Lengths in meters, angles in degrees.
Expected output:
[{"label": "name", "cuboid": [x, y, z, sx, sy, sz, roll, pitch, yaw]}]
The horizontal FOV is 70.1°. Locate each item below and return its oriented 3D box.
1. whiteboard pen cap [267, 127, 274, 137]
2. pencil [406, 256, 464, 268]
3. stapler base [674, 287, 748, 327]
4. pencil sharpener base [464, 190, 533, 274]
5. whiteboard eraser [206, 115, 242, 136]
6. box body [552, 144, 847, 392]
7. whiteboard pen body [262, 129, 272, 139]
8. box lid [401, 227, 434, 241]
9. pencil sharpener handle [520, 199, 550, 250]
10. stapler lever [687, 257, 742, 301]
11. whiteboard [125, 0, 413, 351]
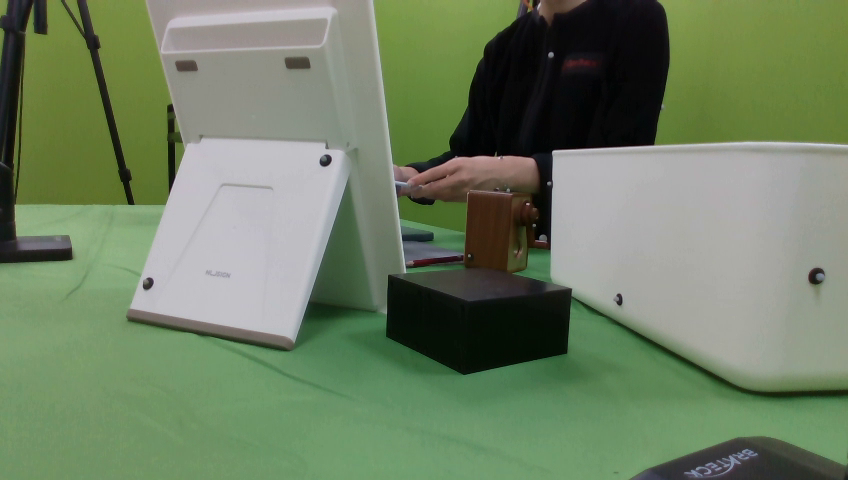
[{"label": "whiteboard pen cap", "cuboid": [-0.340, -0.239, 1.337, 0.018, 0.018, 0.033, 1, -1, -15]}, {"label": "pencil", "cuboid": [0.041, 0.028, 0.850, 0.195, 0.012, 0.012, -5, 10, -45]}, {"label": "stapler base", "cuboid": [0.281, 0.061, 0.586, 0.041, 0.024, 0.131, 11, 9, 37]}, {"label": "pencil sharpener base", "cuboid": [0.103, -0.012, 0.812, 0.076, 0.107, 0.061, 8, 8, 36]}, {"label": "whiteboard eraser", "cuboid": [-0.438, -0.249, 1.320, 0.056, 0.042, 0.112, -3, 9, -30]}, {"label": "box body", "cuboid": [0.290, 0.002, 0.549, 0.255, 0.160, 0.363, 2, 7, -10]}, {"label": "whiteboard pen body", "cuboid": [-0.361, -0.245, 1.393, 0.017, 0.017, 0.140, 0, 5, -20]}, {"label": "box lid", "cuboid": [-0.196, -0.015, 1.105, 0.373, 0.015, 0.262, -1, 7, -32]}, {"label": "pencil sharpener handle", "cuboid": [0.147, -0.019, 0.785, 0.030, 0.068, 0.036, 8, 26, 36]}, {"label": "stapler lever", "cuboid": [0.283, 0.035, 0.585, 0.026, 0.040, 0.119, 11, 8, 37]}, {"label": "whiteboard", "cuboid": [-0.151, -0.050, 0.471, 0.216, 0.305, 0.144, 6, 27, 24]}]
